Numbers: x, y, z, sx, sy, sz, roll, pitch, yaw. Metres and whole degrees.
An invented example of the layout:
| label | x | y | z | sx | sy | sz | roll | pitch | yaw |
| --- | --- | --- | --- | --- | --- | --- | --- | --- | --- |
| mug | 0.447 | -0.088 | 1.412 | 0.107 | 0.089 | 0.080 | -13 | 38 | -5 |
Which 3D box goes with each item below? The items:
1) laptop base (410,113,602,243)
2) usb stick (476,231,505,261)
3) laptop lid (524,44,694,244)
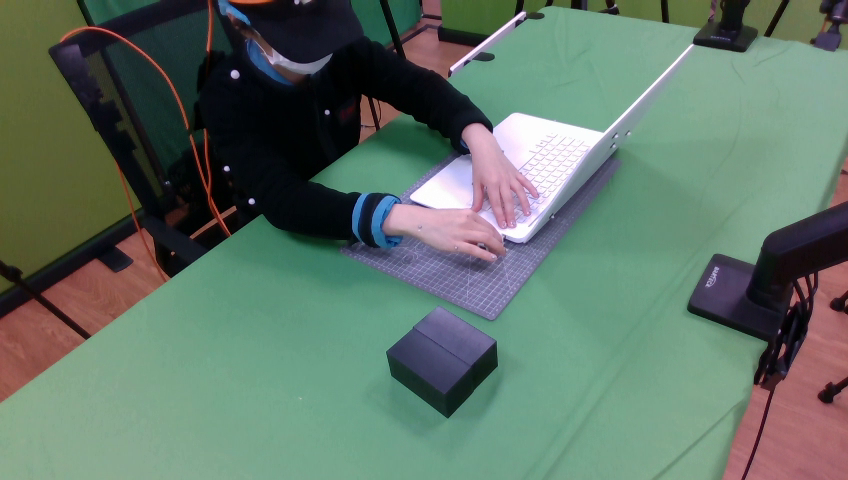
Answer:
| label | x | y | z | sx | sy | sz | roll | pitch | yaw |
| --- | --- | --- | --- | --- | --- | --- | --- | --- | --- |
| laptop base | 0.171 | -0.127 | 1.096 | 0.233 | 0.023 | 0.355 | 21 | 47 | 33 |
| usb stick | 0.105 | 0.005 | 0.929 | 0.021 | 0.027 | 0.059 | 16 | 40 | 34 |
| laptop lid | 0.290 | -0.150 | 0.941 | 0.013 | 0.241 | 0.358 | 40 | 54 | 12 |
